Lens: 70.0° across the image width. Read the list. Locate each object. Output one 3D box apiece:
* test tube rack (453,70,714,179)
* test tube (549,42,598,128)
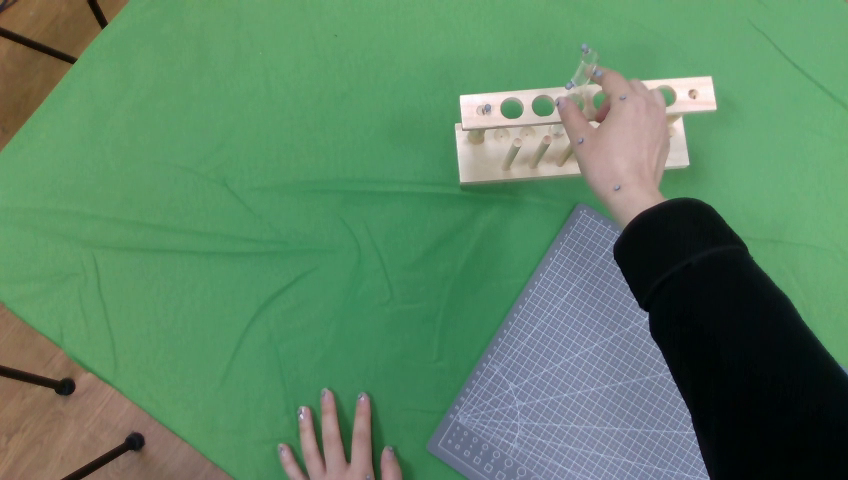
[{"bbox_3d":[0.154,-0.114,0.610,0.242,0.085,0.066,-5,81,-2],"label":"test tube rack"},{"bbox_3d":[0.136,-0.138,0.563,0.017,0.151,0.017,0,78,2],"label":"test tube"}]
